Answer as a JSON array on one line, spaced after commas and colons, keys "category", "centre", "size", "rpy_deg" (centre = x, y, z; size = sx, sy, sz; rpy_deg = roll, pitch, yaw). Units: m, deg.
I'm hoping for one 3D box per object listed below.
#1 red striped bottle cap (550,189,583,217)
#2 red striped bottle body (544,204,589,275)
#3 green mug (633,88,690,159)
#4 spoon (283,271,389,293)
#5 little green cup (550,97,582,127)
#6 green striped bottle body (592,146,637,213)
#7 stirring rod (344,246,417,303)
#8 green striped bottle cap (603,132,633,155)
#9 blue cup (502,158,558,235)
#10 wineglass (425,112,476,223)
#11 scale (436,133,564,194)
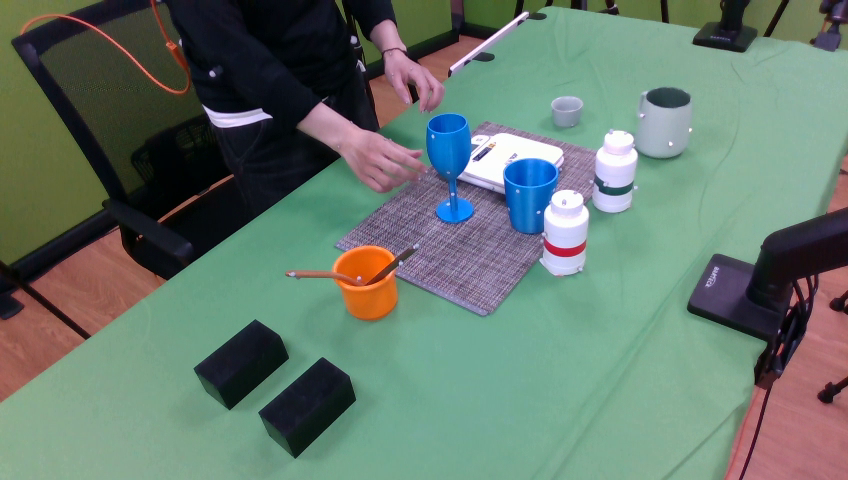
[{"category": "red striped bottle cap", "centre": [0.199, -0.052, 0.843], "size": [0.044, 0.018, 0.044], "rpy_deg": [-2, 42, 2]}, {"category": "red striped bottle body", "centre": [0.206, -0.011, 0.877], "size": [0.063, 0.120, 0.062], "rpy_deg": [-4, 41, 4]}, {"category": "green mug", "centre": [0.423, -0.217, 1.099], "size": [0.093, 0.105, 0.124], "rpy_deg": [-16, 41, -10]}, {"category": "spoon", "centre": [-0.117, 0.054, 0.825], "size": [0.041, 0.195, 0.021], "rpy_deg": [17, 89, 38]}, {"category": "little green cup", "centre": [0.284, -0.255, 1.213], "size": [0.061, 0.039, 0.061], "rpy_deg": [-4, 41, 4]}, {"category": "green striped bottle body", "centre": [0.307, -0.108, 0.976], "size": [0.063, 0.120, 0.063], "rpy_deg": [-4, 41, 4]}, {"category": "stirring rod", "centre": [-0.062, 0.050, 0.819], "size": [0.014, 0.175, 0.006], "rpy_deg": [-1, 63, -40]}, {"category": "green striped bottle cap", "centre": [0.301, -0.149, 0.938], "size": [0.044, 0.020, 0.044], "rpy_deg": [-3, 39, 3]}, {"category": "blue cup", "centre": [0.168, -0.064, 0.954], "size": [0.092, 0.100, 0.092], "rpy_deg": [-5, 38, 5]}, {"category": "wineglass", "centre": [0.043, -0.114, 0.972], "size": [0.074, 0.173, 0.073], "rpy_deg": [-4, 41, 4]}, {"category": "scale", "centre": [0.137, -0.142, 1.101], "size": [0.199, 0.032, 0.149], "rpy_deg": [22, 48, 30]}]
